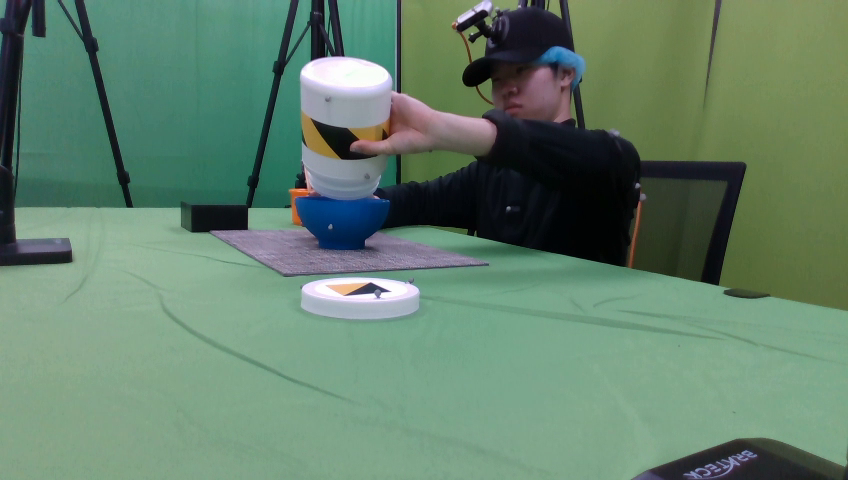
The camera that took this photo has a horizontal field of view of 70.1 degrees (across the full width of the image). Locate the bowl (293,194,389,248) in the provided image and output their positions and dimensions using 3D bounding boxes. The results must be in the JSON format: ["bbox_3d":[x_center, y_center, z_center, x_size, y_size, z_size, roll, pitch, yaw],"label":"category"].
[{"bbox_3d":[-0.132,-0.030,0.962,0.151,0.077,0.151,3,7,0],"label":"bowl"}]

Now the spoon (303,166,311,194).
[{"bbox_3d":[-0.257,-0.113,1.341,0.042,0.193,0.021,3,-38,-18],"label":"spoon"}]

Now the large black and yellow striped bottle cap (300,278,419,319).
[{"bbox_3d":[-0.062,0.055,0.588,0.115,0.019,0.115,1,6,0],"label":"large black and yellow striped bottle cap"}]

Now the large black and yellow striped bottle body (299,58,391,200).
[{"bbox_3d":[-0.120,-0.165,0.913,0.131,0.184,0.130,5,35,-3],"label":"large black and yellow striped bottle body"}]
